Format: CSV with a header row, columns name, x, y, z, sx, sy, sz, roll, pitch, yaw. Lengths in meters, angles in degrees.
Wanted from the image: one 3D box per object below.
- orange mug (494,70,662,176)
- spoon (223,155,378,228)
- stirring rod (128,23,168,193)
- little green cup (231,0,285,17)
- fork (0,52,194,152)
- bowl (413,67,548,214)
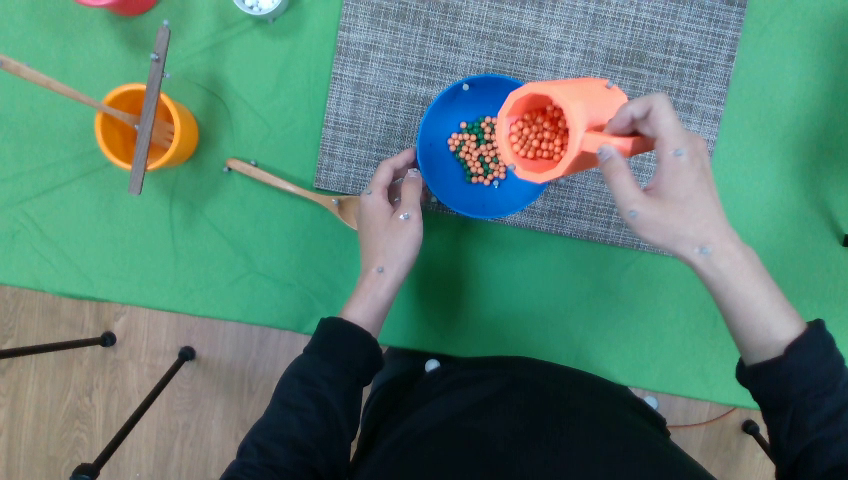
name,x,y,z,sx,sy,sz,roll,pitch,yaw
orange mug,0.138,-0.103,0.536,0.101,0.125,0.084,-17,119,-41
spoon,-0.144,-0.062,0.704,0.194,0.021,0.042,21,111,-3
stirring rod,-0.287,-0.135,0.629,0.014,0.006,0.176,12,97,-3
little green cup,-0.183,-0.278,0.670,0.061,0.038,0.061,0,97,1
fork,-0.340,-0.142,0.631,0.209,0.018,0.028,25,101,-46
bowl,0.063,-0.105,0.667,0.151,0.076,0.151,0,97,1
